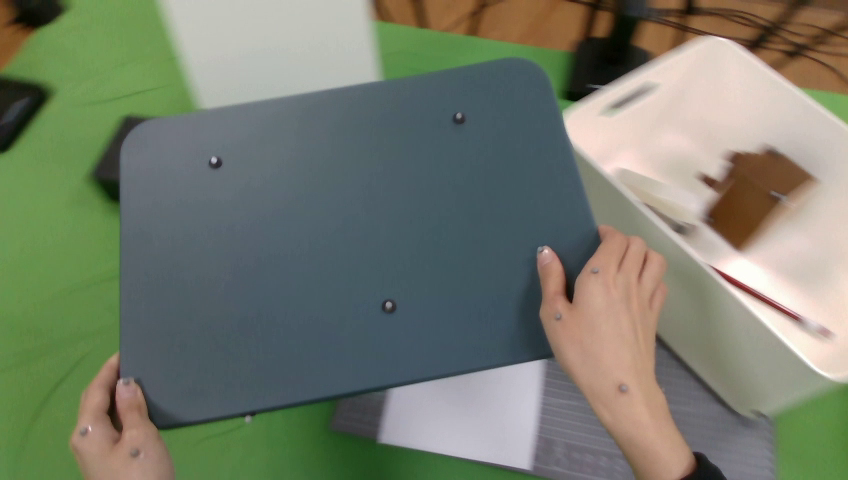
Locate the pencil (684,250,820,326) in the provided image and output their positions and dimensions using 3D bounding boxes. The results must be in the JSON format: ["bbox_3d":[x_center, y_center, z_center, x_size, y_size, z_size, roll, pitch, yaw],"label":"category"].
[{"bbox_3d":[0.358,0.045,0.703,0.192,0.012,0.012,32,64,21],"label":"pencil"}]

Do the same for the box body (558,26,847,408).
[{"bbox_3d":[0.317,-0.032,0.665,0.254,0.161,0.361,-33,65,-19],"label":"box body"}]

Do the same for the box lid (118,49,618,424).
[{"bbox_3d":[-0.057,-0.017,0.476,0.372,0.015,0.261,-10,69,-2],"label":"box lid"}]

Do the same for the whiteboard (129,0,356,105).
[{"bbox_3d":[-0.215,-0.255,0.748,0.217,0.308,0.142,-20,42,-11],"label":"whiteboard"}]

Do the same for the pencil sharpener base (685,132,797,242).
[{"bbox_3d":[0.363,-0.061,0.709,0.061,0.108,0.076,-33,64,-20],"label":"pencil sharpener base"}]

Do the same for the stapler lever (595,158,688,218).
[{"bbox_3d":[0.259,-0.067,0.729,0.117,0.040,0.027,34,62,20],"label":"stapler lever"}]

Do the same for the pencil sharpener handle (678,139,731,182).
[{"bbox_3d":[0.329,-0.100,0.718,0.036,0.068,0.030,-26,61,-32],"label":"pencil sharpener handle"}]

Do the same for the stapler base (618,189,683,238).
[{"bbox_3d":[0.260,-0.052,0.751,0.130,0.024,0.041,35,62,19],"label":"stapler base"}]
